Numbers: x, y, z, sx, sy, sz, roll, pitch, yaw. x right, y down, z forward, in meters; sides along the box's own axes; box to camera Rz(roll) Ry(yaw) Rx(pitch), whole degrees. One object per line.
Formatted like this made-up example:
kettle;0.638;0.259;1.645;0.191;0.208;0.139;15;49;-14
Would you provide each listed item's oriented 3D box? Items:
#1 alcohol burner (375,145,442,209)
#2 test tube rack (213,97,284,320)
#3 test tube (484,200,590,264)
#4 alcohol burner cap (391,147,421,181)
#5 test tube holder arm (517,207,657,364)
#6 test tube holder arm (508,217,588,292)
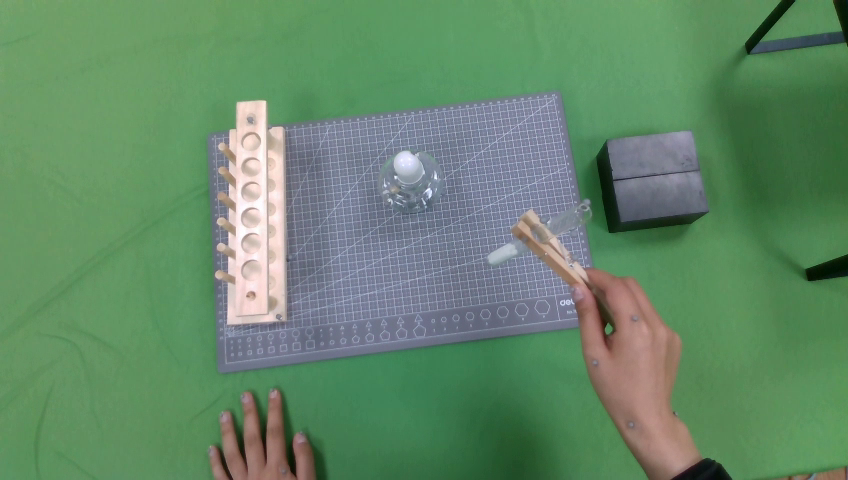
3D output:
alcohol burner;-0.019;-0.076;0.689;0.078;0.119;0.077;0;79;2
test tube rack;-0.204;-0.033;0.697;0.067;0.085;0.241;-3;78;0
test tube;0.092;-0.003;0.526;0.017;0.150;0.017;7;71;-22
alcohol burner cap;-0.021;-0.085;0.654;0.034;0.048;0.034;0;83;3
test tube holder arm;0.143;0.041;0.529;0.179;0.015;0.013;47;67;-6
test tube holder arm;0.108;0.014;0.521;0.088;0.015;0.010;41;67;-9
